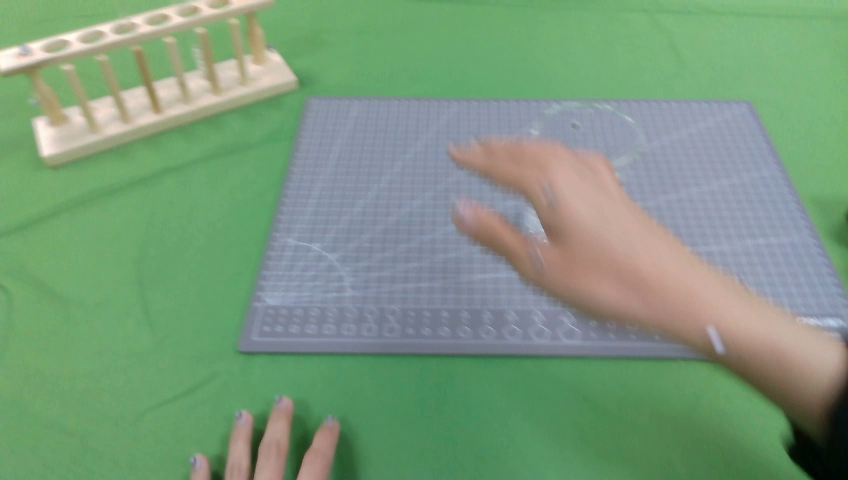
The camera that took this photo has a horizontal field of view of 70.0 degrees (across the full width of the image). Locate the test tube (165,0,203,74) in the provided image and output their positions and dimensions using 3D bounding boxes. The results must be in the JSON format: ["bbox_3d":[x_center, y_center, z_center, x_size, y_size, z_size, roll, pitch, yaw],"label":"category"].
[{"bbox_3d":[-0.230,-0.219,0.562,0.017,0.151,0.017,-1,52,2],"label":"test tube"}]

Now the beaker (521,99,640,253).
[{"bbox_3d":[0.112,-0.044,0.466,0.084,0.101,0.073,-14,50,-11],"label":"beaker"}]

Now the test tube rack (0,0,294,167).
[{"bbox_3d":[-0.256,-0.161,0.578,0.243,0.086,0.066,-24,53,-19],"label":"test tube rack"}]

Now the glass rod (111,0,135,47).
[{"bbox_3d":[-0.268,-0.203,0.527,0.008,0.201,0.008,3,51,-3],"label":"glass rod"}]
